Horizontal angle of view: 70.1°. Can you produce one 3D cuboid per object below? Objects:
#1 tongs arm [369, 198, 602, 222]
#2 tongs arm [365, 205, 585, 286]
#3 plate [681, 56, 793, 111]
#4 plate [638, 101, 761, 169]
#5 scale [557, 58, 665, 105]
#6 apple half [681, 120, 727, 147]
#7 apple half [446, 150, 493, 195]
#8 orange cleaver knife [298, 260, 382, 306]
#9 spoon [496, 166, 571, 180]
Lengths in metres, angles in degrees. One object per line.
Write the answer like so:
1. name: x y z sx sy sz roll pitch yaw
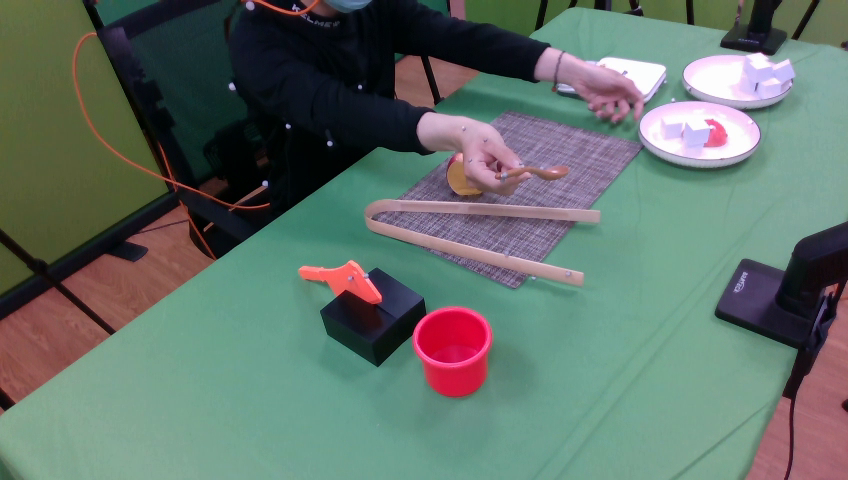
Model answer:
1. tongs arm: 0.097 -0.049 1.008 0.386 0.028 0.028 3 47 13
2. tongs arm: 0.067 0.003 0.951 0.382 0.026 0.051 13 46 23
3. plate: 0.636 -0.317 1.239 0.207 0.039 0.206 -4 40 4
4. plate: 0.500 -0.189 1.111 0.209 0.038 0.208 -4 41 4
5. scale: 0.407 -0.348 1.314 0.199 0.032 0.149 19 47 28
6. apple half: 0.518 -0.203 1.115 0.081 0.033 0.081 -1 40 2
7. apple half: 0.080 -0.124 1.065 0.081 0.075 0.053 -6 36 7
8. orange cleaver knife: -0.126 0.063 0.876 0.012 0.077 0.210 -38 19 -30
9. spoon: 0.142 -0.089 0.796 0.041 0.021 0.195 5 7 36
